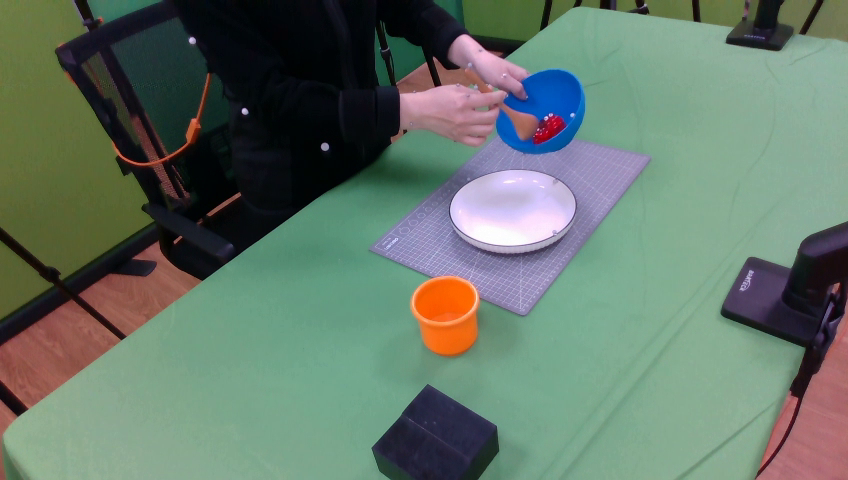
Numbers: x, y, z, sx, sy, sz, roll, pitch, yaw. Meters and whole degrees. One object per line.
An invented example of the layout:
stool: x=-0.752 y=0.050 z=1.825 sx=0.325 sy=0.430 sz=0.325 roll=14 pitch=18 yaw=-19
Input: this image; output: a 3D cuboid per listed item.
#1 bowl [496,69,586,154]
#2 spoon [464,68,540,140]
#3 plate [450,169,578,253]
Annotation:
bowl: x=0.204 y=-0.197 z=0.997 sx=0.150 sy=0.077 sz=0.150 roll=-18 pitch=56 yaw=29
spoon: x=0.116 y=-0.200 z=0.893 sx=0.041 sy=0.195 sz=0.021 roll=-55 pitch=42 yaw=9
plate: x=0.147 y=-0.044 z=0.994 sx=0.209 sy=0.038 sz=0.208 roll=-5 pitch=40 yaw=5
